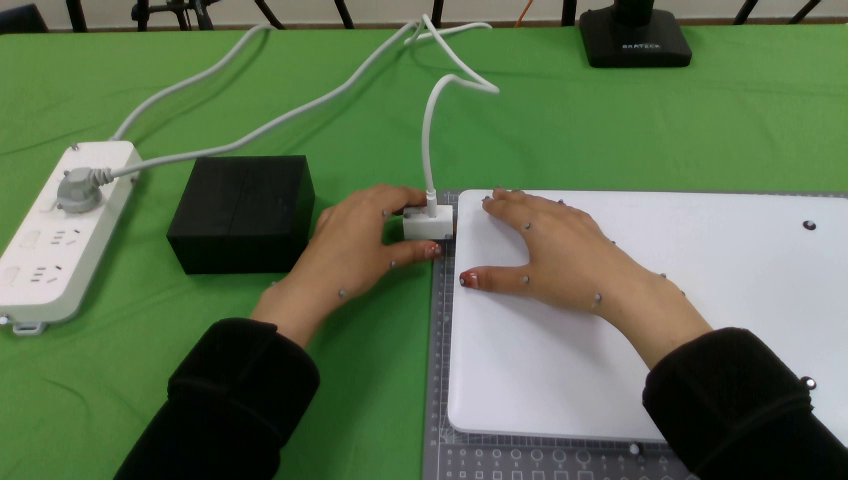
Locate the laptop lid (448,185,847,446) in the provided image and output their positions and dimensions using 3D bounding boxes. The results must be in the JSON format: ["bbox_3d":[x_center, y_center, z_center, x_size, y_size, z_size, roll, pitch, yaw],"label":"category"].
[{"bbox_3d":[0.199,0.043,0.474,0.356,0.013,0.239,3,51,5],"label":"laptop lid"}]

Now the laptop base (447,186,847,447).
[{"bbox_3d":[0.200,0.050,0.484,0.354,0.023,0.233,2,52,4],"label":"laptop base"}]

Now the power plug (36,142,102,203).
[{"bbox_3d":[-0.312,-0.066,0.533,0.053,0.073,0.035,12,31,-19],"label":"power plug"}]

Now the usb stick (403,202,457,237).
[{"bbox_3d":[0.012,-0.018,0.537,0.059,0.027,0.021,-1,44,2],"label":"usb stick"}]

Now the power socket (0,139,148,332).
[{"bbox_3d":[-0.321,-0.018,0.558,0.072,0.033,0.224,0,47,0],"label":"power socket"}]
